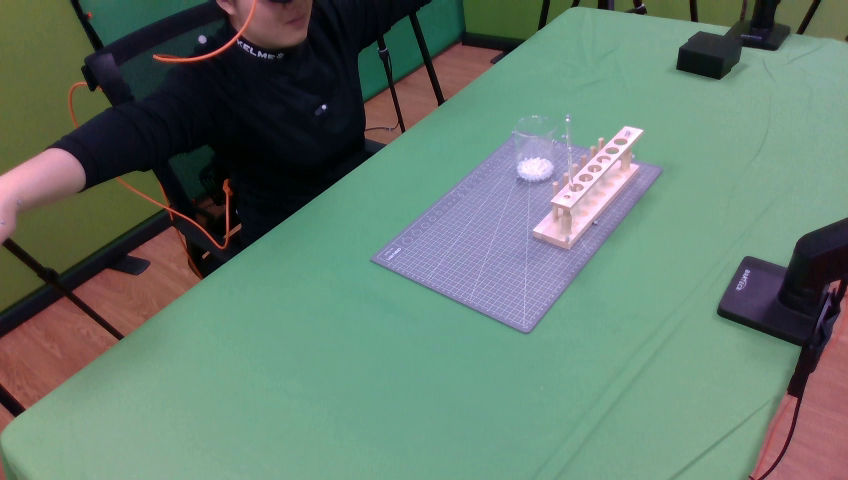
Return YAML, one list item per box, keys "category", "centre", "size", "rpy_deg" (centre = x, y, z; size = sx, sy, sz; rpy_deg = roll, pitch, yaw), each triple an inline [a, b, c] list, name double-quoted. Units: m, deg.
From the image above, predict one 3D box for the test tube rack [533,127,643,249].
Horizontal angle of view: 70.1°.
- category: "test tube rack"
  centre: [0.271, -0.095, 0.989]
  size: [0.066, 0.085, 0.243]
  rpy_deg: [23, 50, 33]

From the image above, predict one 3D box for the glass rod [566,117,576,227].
- category: "glass rod"
  centre: [0.217, -0.094, 0.895]
  size: [0.008, 0.201, 0.008]
  rpy_deg: [-8, 41, 8]

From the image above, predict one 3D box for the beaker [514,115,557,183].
- category: "beaker"
  centre: [0.199, -0.161, 1.071]
  size: [0.073, 0.101, 0.084]
  rpy_deg: [8, 42, 19]
